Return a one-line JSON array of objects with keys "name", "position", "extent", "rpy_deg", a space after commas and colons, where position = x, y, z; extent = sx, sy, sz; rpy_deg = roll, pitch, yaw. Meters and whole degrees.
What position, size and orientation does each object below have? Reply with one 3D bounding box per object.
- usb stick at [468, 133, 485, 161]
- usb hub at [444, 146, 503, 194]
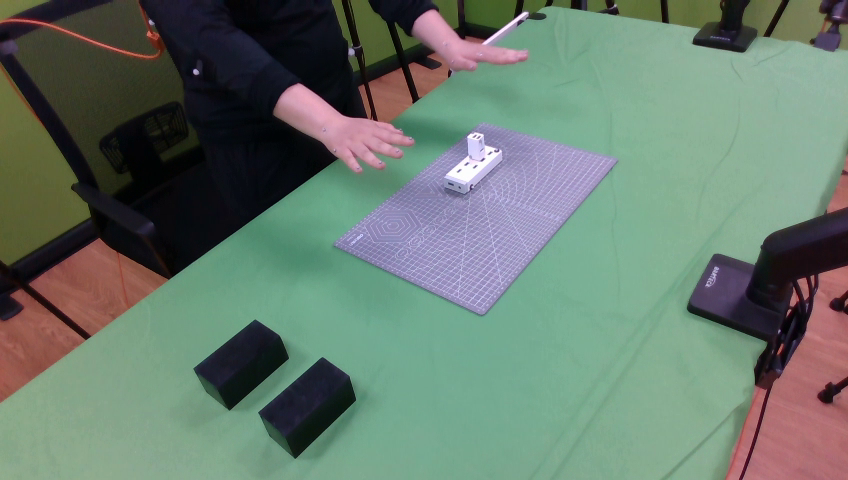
[{"name": "usb stick", "position": [0.095, -0.162, 1.096], "extent": [0.027, 0.059, 0.021], "rpy_deg": [21, 48, 27]}, {"name": "usb hub", "position": [0.091, -0.129, 1.102], "extent": [0.049, 0.025, 0.125], "rpy_deg": [23, 49, 30]}]
